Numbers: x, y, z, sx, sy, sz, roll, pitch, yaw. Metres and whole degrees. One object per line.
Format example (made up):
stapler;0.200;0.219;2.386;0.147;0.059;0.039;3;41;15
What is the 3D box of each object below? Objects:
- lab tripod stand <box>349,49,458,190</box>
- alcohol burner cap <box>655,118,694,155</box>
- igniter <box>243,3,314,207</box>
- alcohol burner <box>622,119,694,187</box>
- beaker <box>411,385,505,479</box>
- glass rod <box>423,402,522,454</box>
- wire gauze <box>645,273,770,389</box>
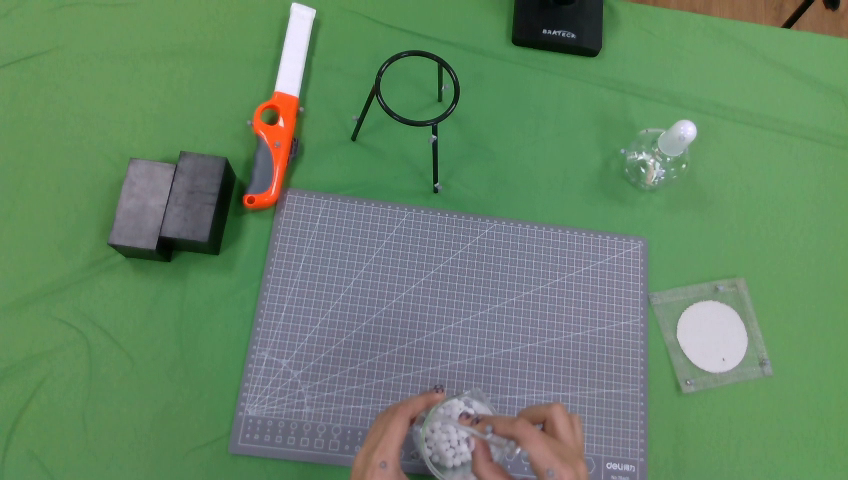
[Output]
lab tripod stand;-0.014;-0.146;0.693;0.148;0.132;0.147;2;71;-4
alcohol burner cap;0.289;-0.120;0.690;0.034;0.048;0.033;1;77;-2
igniter;-0.173;-0.166;0.737;0.057;0.025;0.275;13;72;-18
alcohol burner;0.285;-0.110;0.725;0.078;0.119;0.077;2;71;-5
beaker;0.028;0.176;0.563;0.074;0.100;0.083;20;75;-3
glass rod;0.034;0.154;0.507;0.008;0.199;0.008;2;84;-18
wire gauze;0.340;0.107;0.722;0.125;0.011;0.120;-10;75;-6
